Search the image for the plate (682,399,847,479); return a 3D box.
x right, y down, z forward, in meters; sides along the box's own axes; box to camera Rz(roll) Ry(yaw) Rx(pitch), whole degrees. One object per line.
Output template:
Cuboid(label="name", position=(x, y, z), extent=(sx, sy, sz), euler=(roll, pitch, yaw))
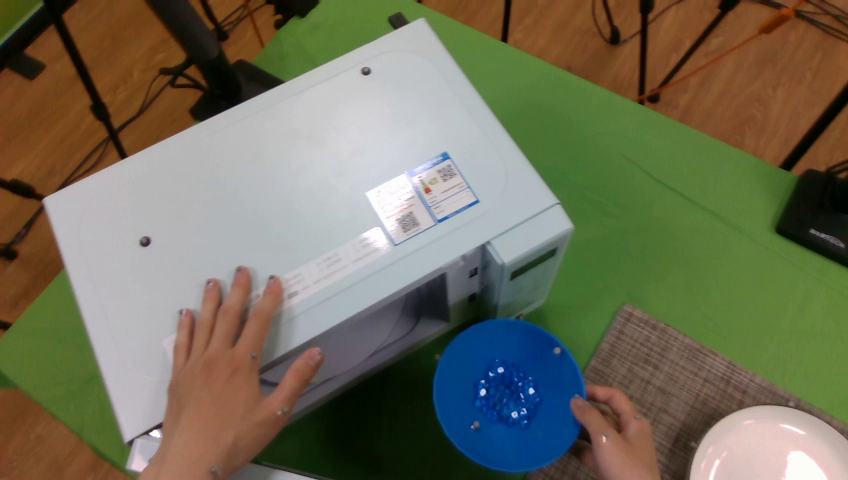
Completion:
Cuboid(label="plate", position=(0.389, 0.284, 0.671), extent=(0.207, 0.039, 0.206), euler=(-1, 67, 3))

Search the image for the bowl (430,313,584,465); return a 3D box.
Cuboid(label="bowl", position=(0.083, 0.159, 0.626), extent=(0.151, 0.077, 0.150), euler=(-1, 63, 2))

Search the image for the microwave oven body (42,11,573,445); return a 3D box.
Cuboid(label="microwave oven body", position=(-0.117, 0.005, 0.698), extent=(0.442, 0.262, 0.323), euler=(-29, 69, -8))

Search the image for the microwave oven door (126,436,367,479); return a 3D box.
Cuboid(label="microwave oven door", position=(-0.065, 0.249, 0.585), extent=(0.355, 0.245, 0.039), euler=(11, 68, 8))

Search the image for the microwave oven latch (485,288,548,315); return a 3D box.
Cuboid(label="microwave oven latch", position=(0.116, 0.075, 0.761), extent=(0.079, 0.030, 0.030), euler=(-27, 68, -7))
